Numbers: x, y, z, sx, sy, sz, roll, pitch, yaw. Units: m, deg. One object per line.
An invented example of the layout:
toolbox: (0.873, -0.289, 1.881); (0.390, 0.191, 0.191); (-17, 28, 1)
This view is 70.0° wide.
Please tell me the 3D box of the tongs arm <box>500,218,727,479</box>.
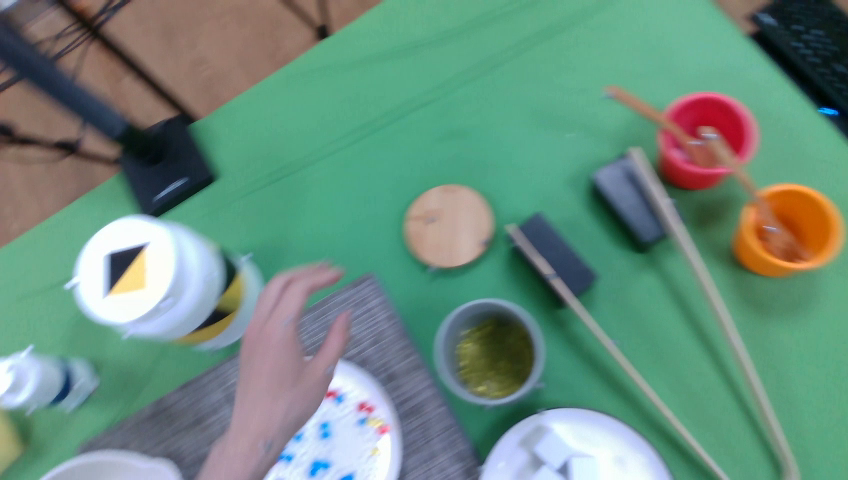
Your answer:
tongs arm: (0.218, 0.115, 0.640); (0.051, 0.026, 0.383); (-37, 82, -2)

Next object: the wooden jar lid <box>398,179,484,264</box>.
wooden jar lid: (0.022, -0.022, 0.753); (0.108, 0.021, 0.108); (-2, 77, 10)

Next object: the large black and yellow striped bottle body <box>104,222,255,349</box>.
large black and yellow striped bottle body: (-0.297, 0.055, 0.710); (0.130, 0.185, 0.130); (-3, 74, 11)

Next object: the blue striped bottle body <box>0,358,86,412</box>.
blue striped bottle body: (-0.487, 0.179, 0.748); (0.063, 0.121, 0.062); (-3, 75, 10)

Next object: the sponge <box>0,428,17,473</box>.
sponge: (-0.648, 0.308, 0.778); (0.207, 0.061, 0.117); (-45, 72, -3)

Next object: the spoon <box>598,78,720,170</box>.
spoon: (0.263, -0.130, 0.667); (0.195, 0.021, 0.041); (26, 82, -29)

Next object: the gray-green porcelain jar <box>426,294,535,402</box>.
gray-green porcelain jar: (0.066, 0.120, 0.651); (0.105, 0.127, 0.105); (-3, 75, 11)

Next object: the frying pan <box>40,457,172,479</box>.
frying pan: (-0.275, 0.437, 0.645); (0.484, 0.103, 0.306); (25, 82, 24)

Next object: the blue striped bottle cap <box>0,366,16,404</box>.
blue striped bottle cap: (-0.497, 0.167, 0.699); (0.044, 0.021, 0.044); (-4, 73, 13)

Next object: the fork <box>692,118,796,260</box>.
fork: (0.334, -0.050, 0.629); (0.028, 0.018, 0.209); (-43, 116, 7)

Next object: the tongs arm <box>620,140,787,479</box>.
tongs arm: (0.290, 0.070, 0.639); (0.028, 0.028, 0.386); (-22, 82, -3)

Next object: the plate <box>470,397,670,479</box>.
plate: (0.153, 0.273, 0.642); (0.207, 0.039, 0.206); (-3, 75, 11)

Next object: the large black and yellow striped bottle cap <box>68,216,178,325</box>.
large black and yellow striped bottle cap: (-0.314, 0.031, 0.631); (0.115, 0.019, 0.114); (-2, 76, 10)

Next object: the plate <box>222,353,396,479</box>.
plate: (-0.131, 0.237, 0.703); (0.209, 0.038, 0.208); (-3, 76, 11)
